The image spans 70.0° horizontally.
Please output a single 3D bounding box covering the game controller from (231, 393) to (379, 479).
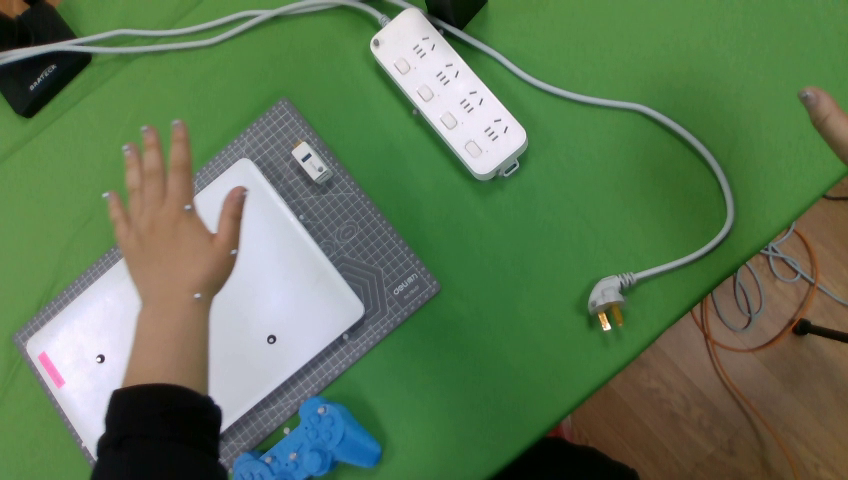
[{"bbox_3d":[-0.133,0.235,0.641,0.155,0.052,0.096,-40,74,3],"label":"game controller"}]

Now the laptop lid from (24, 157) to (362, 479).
[{"bbox_3d":[-0.269,0.101,0.684,0.357,0.013,0.240,-38,80,4],"label":"laptop lid"}]

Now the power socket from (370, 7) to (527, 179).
[{"bbox_3d":[0.025,-0.163,0.669,0.072,0.033,0.225,-39,78,5],"label":"power socket"}]

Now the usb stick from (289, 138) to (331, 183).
[{"bbox_3d":[-0.133,-0.094,0.690,0.021,0.027,0.059,-42,76,7],"label":"usb stick"}]

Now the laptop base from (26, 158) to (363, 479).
[{"bbox_3d":[-0.268,0.101,0.696,0.354,0.023,0.234,-40,81,3],"label":"laptop base"}]

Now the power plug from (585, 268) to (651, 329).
[{"bbox_3d":[0.197,0.056,0.606,0.072,0.035,0.052,-25,61,18],"label":"power plug"}]
